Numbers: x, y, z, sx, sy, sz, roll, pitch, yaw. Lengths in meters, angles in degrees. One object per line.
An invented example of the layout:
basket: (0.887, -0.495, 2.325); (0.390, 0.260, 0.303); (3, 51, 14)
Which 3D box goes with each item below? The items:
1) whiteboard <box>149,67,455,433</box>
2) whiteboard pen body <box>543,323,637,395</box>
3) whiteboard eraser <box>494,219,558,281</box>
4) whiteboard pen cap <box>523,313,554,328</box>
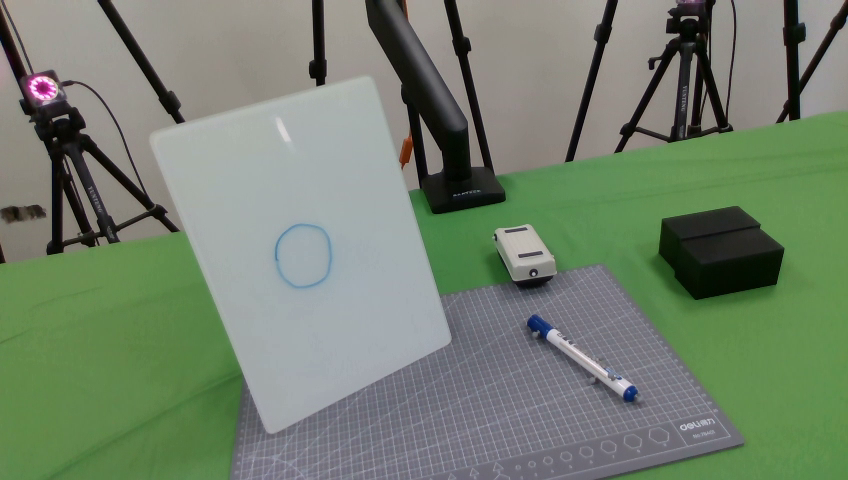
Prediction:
whiteboard: (-0.129, 0.001, 0.650); (0.217, 0.307, 0.143); (-23, 16, -23)
whiteboard pen body: (0.161, 0.114, 0.623); (0.017, 0.017, 0.139); (-23, 35, -24)
whiteboard eraser: (0.128, 0.012, 0.776); (0.055, 0.042, 0.111); (-11, 28, -3)
whiteboard pen cap: (0.127, 0.088, 0.668); (0.033, 0.018, 0.018); (0, 32, 15)
